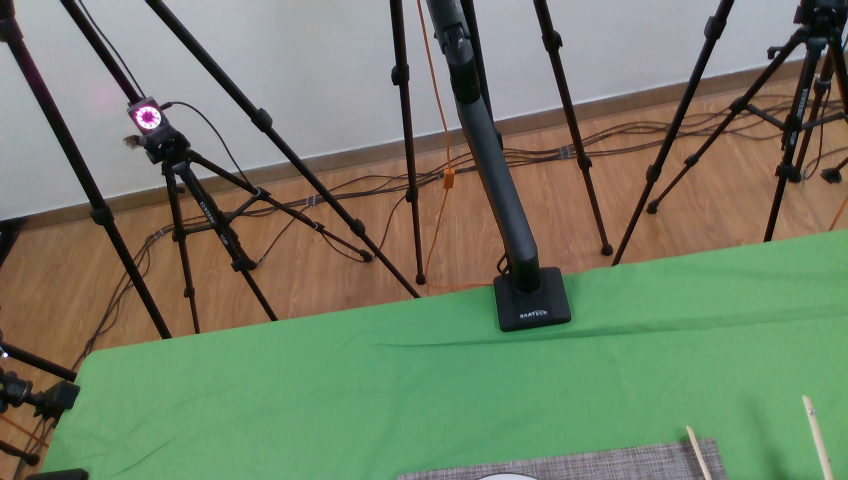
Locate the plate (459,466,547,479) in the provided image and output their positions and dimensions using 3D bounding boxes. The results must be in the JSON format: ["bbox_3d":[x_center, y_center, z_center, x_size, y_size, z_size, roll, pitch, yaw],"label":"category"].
[{"bbox_3d":[0.103,0.400,0.780,0.207,0.039,0.205,-8,49,9],"label":"plate"}]

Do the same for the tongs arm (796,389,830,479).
[{"bbox_3d":[0.449,0.355,0.672,0.050,0.027,0.381,-21,48,32],"label":"tongs arm"}]

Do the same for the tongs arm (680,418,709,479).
[{"bbox_3d":[0.386,0.388,0.712,0.028,0.028,0.383,-29,44,20],"label":"tongs arm"}]
